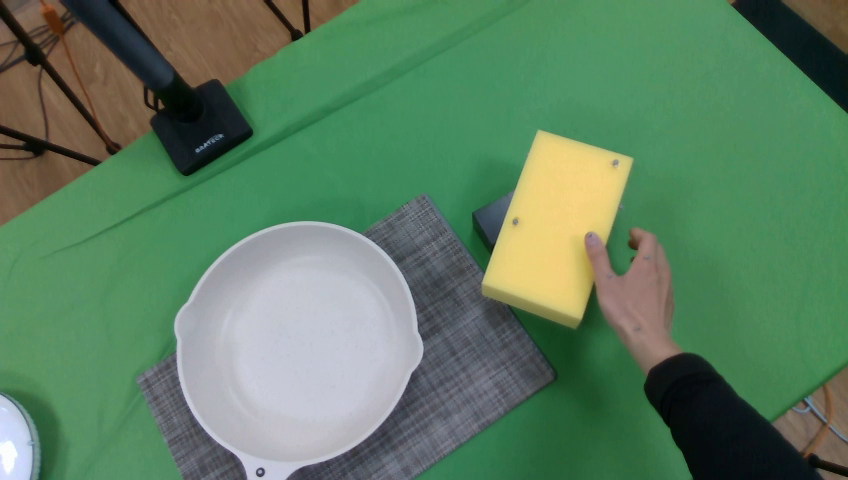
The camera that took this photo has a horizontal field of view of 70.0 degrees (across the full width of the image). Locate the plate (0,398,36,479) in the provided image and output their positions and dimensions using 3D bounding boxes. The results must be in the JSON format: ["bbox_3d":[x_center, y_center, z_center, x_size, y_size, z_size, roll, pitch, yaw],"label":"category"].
[{"bbox_3d":[-0.580,0.296,0.756,0.207,0.039,0.206,-1,72,5],"label":"plate"}]

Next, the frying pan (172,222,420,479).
[{"bbox_3d":[-0.171,0.215,0.704,0.306,0.103,0.484,7,65,9],"label":"frying pan"}]

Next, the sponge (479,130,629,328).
[{"bbox_3d":[0.154,-0.015,0.721,0.118,0.061,0.206,18,74,11],"label":"sponge"}]
